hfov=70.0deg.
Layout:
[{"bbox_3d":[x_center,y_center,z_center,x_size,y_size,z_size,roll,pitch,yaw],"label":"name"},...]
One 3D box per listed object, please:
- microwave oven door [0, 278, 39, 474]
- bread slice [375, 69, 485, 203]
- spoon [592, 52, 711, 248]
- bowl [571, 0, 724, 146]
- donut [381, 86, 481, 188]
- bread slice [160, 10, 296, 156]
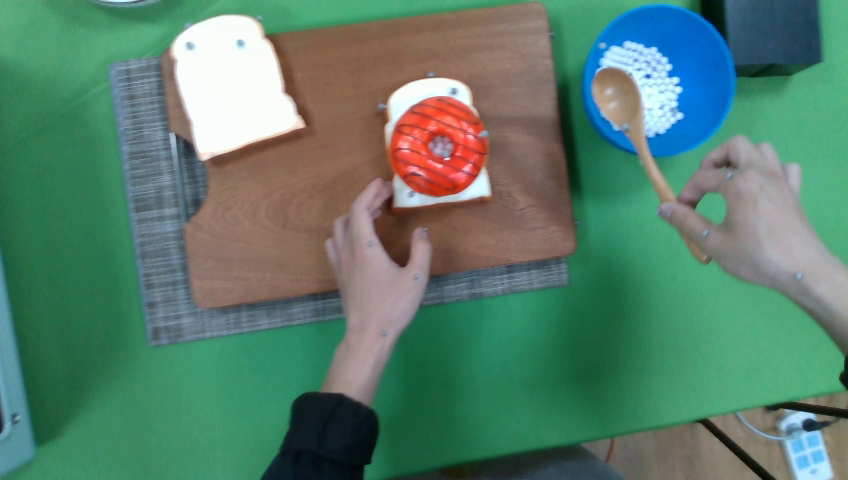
[{"bbox_3d":[-0.439,0.047,0.496,0.039,0.243,0.355,-12,91,-2],"label":"microwave oven door"},{"bbox_3d":[0.001,-0.108,0.620,0.105,0.019,0.131,-10,93,-4],"label":"bread slice"},{"bbox_3d":[0.197,-0.079,0.526,0.041,0.022,0.192,-33,70,39],"label":"spoon"},{"bbox_3d":[0.219,-0.167,0.629,0.151,0.077,0.151,0,91,-3],"label":"bowl"},{"bbox_3d":[0.007,-0.100,0.590,0.099,0.048,0.099,0,92,-3],"label":"donut"},{"bbox_3d":[-0.203,-0.160,0.606,0.107,0.018,0.134,-23,91,-3],"label":"bread slice"}]
